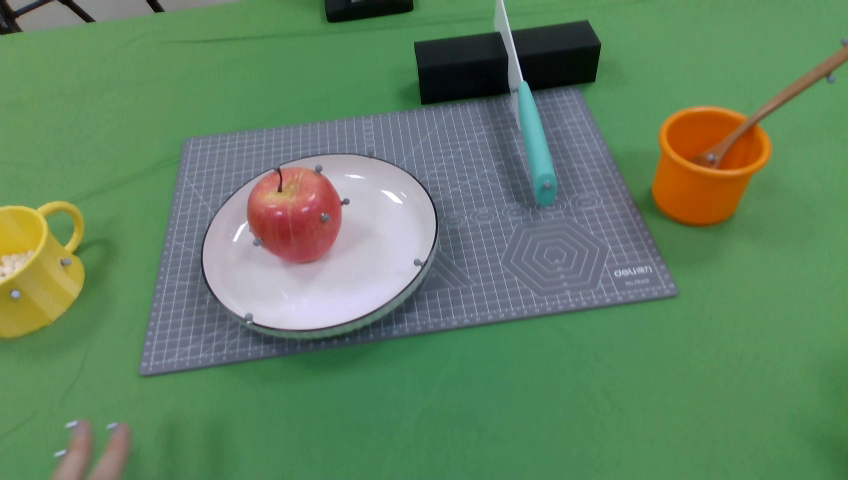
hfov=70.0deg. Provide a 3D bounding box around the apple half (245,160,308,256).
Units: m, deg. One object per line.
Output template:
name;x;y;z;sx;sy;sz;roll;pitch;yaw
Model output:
apple half;-0.127;-0.027;0.533;0.053;0.075;0.080;-1;53;10

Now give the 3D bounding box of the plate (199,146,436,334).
plate;-0.092;-0.002;0.544;0.209;0.038;0.207;-2;51;3

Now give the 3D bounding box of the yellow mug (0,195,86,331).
yellow mug;-0.359;0.010;0.542;0.099;0.064;0.130;20;54;20

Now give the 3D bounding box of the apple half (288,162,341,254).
apple half;-0.088;-0.026;0.528;0.033;0.082;0.080;-2;50;10

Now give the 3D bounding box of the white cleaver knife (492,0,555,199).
white cleaver knife;0.100;-0.163;0.638;0.021;0.066;0.283;-7;61;2

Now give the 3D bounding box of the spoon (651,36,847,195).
spoon;0.283;-0.105;0.528;0.022;0.194;0.041;23;37;-35
